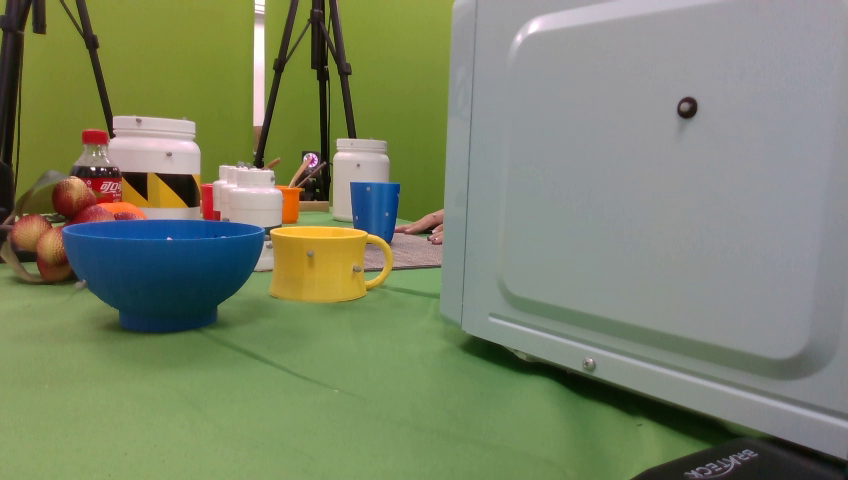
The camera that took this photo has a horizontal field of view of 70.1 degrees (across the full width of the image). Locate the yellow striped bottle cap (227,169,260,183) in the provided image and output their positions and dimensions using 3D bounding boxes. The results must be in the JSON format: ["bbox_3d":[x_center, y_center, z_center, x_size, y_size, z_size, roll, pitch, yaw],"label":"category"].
[{"bbox_3d":[-0.243,-0.087,0.818,0.044,0.018,0.044,3,6,0],"label":"yellow striped bottle cap"}]

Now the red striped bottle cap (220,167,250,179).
[{"bbox_3d":[-0.281,-0.100,0.901,0.044,0.017,0.044,-1,5,0],"label":"red striped bottle cap"}]

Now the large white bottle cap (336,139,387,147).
[{"bbox_3d":[-0.143,-0.219,1.375,0.115,0.018,0.115,2,8,0],"label":"large white bottle cap"}]

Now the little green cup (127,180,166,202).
[{"bbox_3d":[-0.485,-0.086,1.061,0.061,0.038,0.061,1,7,0],"label":"little green cup"}]

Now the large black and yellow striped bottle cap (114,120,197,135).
[{"bbox_3d":[-0.407,-0.171,0.920,0.115,0.019,0.115,2,9,0],"label":"large black and yellow striped bottle cap"}]

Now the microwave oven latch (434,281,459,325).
[{"bbox_3d":[0.044,0.045,0.470,0.079,0.029,0.030,-2,8,-39],"label":"microwave oven latch"}]

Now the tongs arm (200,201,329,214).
[{"bbox_3d":[-0.378,-0.079,1.440,0.387,0.026,0.050,-4,8,-44],"label":"tongs arm"}]

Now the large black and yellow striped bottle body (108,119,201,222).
[{"bbox_3d":[-0.412,-0.088,0.930,0.131,0.184,0.130,3,7,0],"label":"large black and yellow striped bottle body"}]

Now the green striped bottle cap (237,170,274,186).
[{"bbox_3d":[-0.205,-0.075,0.737,0.044,0.020,0.044,1,6,0],"label":"green striped bottle cap"}]

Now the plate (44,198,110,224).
[{"bbox_3d":[-0.617,-0.056,1.179,0.209,0.038,0.209,3,7,0],"label":"plate"}]

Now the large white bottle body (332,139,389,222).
[{"bbox_3d":[-0.145,-0.136,1.387,0.131,0.184,0.130,2,7,0],"label":"large white bottle body"}]

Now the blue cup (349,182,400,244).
[{"bbox_3d":[-0.083,-0.046,1.009,0.093,0.100,0.092,1,6,0],"label":"blue cup"}]

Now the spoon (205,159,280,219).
[{"bbox_3d":[-0.365,-0.103,1.214,0.193,0.021,0.041,-42,4,6],"label":"spoon"}]

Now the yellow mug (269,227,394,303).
[{"bbox_3d":[-0.094,0.023,0.629,0.131,0.064,0.099,0,7,-22],"label":"yellow mug"}]

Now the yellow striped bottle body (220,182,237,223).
[{"bbox_3d":[-0.245,-0.036,0.825,0.063,0.120,0.063,3,8,0],"label":"yellow striped bottle body"}]

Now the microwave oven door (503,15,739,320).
[{"bbox_3d":[0.218,-0.065,0.601,0.358,0.243,0.039,-4,10,-41],"label":"microwave oven door"}]

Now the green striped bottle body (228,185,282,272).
[{"bbox_3d":[-0.208,-0.023,0.745,0.063,0.119,0.063,2,7,0],"label":"green striped bottle body"}]

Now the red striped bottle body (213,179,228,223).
[{"bbox_3d":[-0.284,-0.048,0.910,0.063,0.119,0.063,3,12,0],"label":"red striped bottle body"}]

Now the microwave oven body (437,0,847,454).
[{"bbox_3d":[0.279,-0.040,0.464,0.444,0.260,0.324,-3,9,-41],"label":"microwave oven body"}]

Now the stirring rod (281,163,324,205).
[{"bbox_3d":[-0.278,-0.105,1.294,0.176,0.006,0.014,-47,26,-18],"label":"stirring rod"}]

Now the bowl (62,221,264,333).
[{"bbox_3d":[-0.208,0.029,0.496,0.151,0.077,0.151,2,6,0],"label":"bowl"}]

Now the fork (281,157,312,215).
[{"bbox_3d":[-0.289,-0.116,1.321,0.028,0.019,0.207,6,51,19],"label":"fork"}]

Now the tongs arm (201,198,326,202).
[{"bbox_3d":[-0.433,-0.090,1.507,0.390,0.028,0.028,-1,2,-30],"label":"tongs arm"}]
